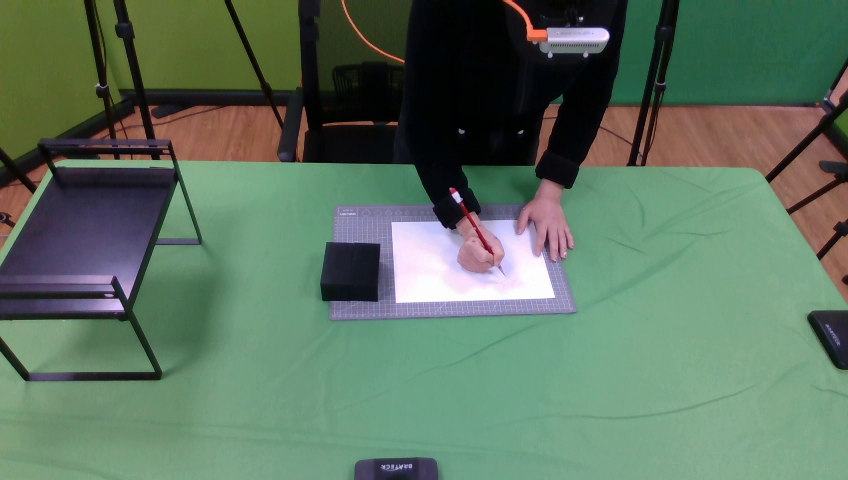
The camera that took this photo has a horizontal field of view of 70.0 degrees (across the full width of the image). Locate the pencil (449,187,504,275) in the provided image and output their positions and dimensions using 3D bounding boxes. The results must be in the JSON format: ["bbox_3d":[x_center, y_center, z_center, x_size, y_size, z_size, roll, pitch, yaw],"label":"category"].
[{"bbox_3d":[0.100,-0.015,1.123,0.012,0.012,0.194,-38,101,-33],"label":"pencil"}]
